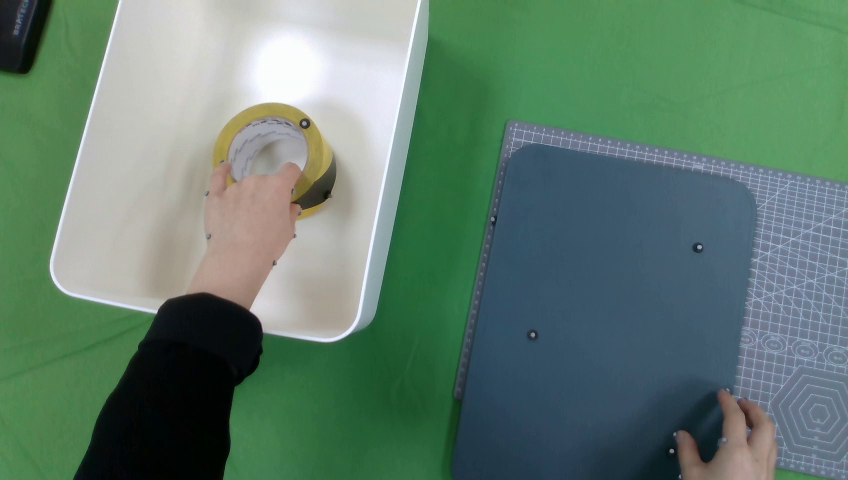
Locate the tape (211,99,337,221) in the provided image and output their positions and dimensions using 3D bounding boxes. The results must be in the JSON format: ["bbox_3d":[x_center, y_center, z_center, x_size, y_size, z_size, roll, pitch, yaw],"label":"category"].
[{"bbox_3d":[-0.149,-0.078,0.610,0.117,0.053,0.116,-1,79,5],"label":"tape"}]

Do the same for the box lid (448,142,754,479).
[{"bbox_3d":[0.182,0.092,0.615,0.263,0.015,0.370,11,83,2],"label":"box lid"}]

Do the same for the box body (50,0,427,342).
[{"bbox_3d":[-0.146,-0.102,0.575,0.254,0.161,0.363,10,83,2],"label":"box body"}]
